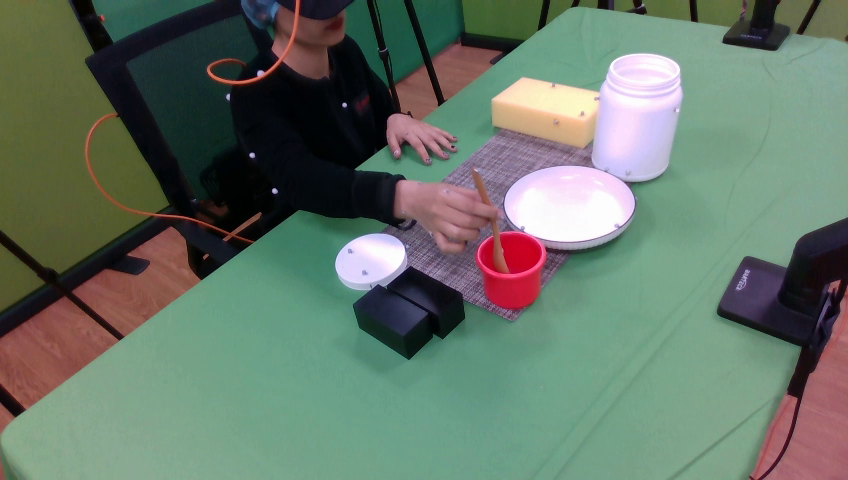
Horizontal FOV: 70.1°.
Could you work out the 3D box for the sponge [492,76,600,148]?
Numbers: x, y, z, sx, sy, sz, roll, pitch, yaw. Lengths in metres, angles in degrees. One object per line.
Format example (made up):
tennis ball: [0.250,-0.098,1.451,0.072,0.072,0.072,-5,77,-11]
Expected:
sponge: [0.254,-0.259,1.207,0.205,0.061,0.118,22,47,31]

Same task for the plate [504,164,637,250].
plate: [0.234,-0.051,0.981,0.209,0.038,0.208,-5,40,5]

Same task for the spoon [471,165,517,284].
spoon: [0.092,-0.016,0.801,0.022,0.194,0.041,-25,30,-12]

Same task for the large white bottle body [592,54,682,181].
large white bottle body: [0.360,-0.208,1.027,0.130,0.185,0.130,-3,41,3]

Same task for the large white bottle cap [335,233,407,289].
large white bottle cap: [-0.084,0.032,0.961,0.115,0.018,0.114,-6,41,6]
